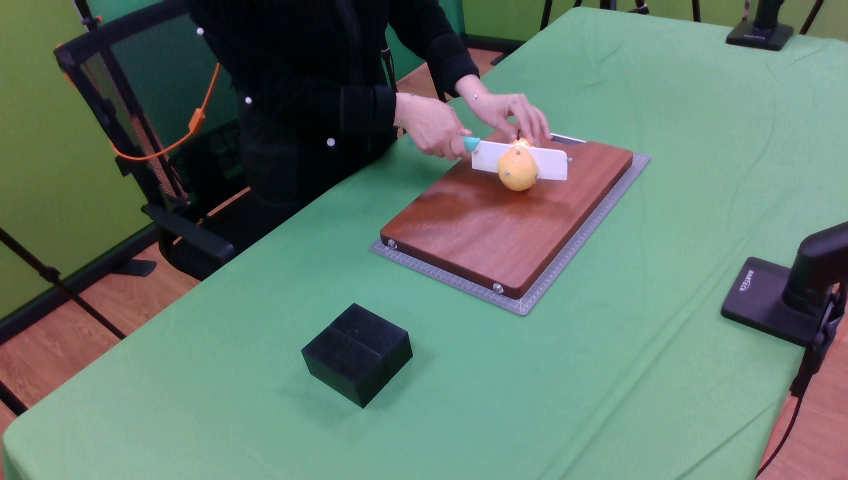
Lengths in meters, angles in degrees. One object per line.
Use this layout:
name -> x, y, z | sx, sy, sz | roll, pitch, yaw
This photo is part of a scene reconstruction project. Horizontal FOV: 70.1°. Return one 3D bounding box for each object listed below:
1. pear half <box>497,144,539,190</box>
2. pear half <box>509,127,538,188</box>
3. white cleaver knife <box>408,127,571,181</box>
pear half -> 0.153, -0.113, 0.995 | 0.070, 0.088, 0.031 | 7, 47, 13
pear half -> 0.164, -0.146, 1.014 | 0.076, 0.110, 0.056 | 7, 41, 12
white cleaver knife -> 0.103, -0.141, 1.011 | 0.285, 0.066, 0.021 | 13, 40, 19
